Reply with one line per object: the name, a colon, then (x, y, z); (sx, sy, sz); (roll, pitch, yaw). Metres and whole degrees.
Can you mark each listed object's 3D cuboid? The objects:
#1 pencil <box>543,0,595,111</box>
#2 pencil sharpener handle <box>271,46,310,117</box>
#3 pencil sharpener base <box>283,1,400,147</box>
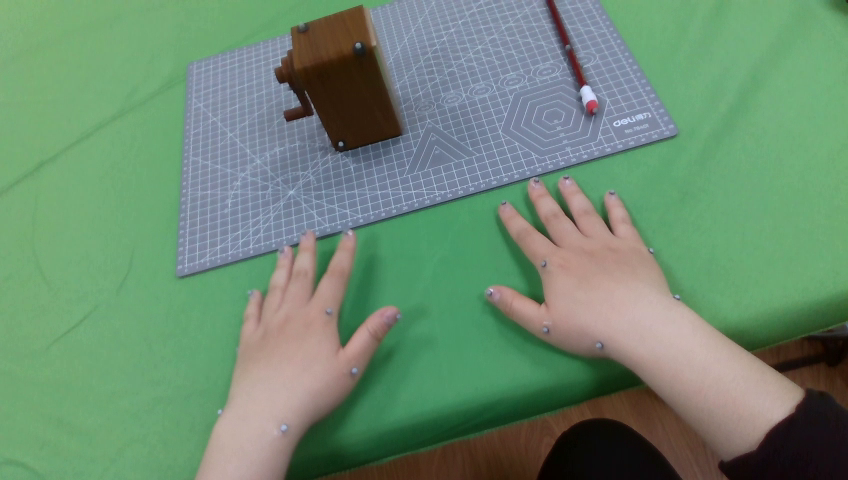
pencil: (0.135, -0.193, 0.588); (0.012, 0.012, 0.192); (-12, 55, 6)
pencil sharpener handle: (-0.124, -0.137, 0.538); (0.030, 0.068, 0.035); (-16, 55, 3)
pencil sharpener base: (-0.073, -0.145, 0.545); (0.076, 0.108, 0.060); (-16, 56, 3)
